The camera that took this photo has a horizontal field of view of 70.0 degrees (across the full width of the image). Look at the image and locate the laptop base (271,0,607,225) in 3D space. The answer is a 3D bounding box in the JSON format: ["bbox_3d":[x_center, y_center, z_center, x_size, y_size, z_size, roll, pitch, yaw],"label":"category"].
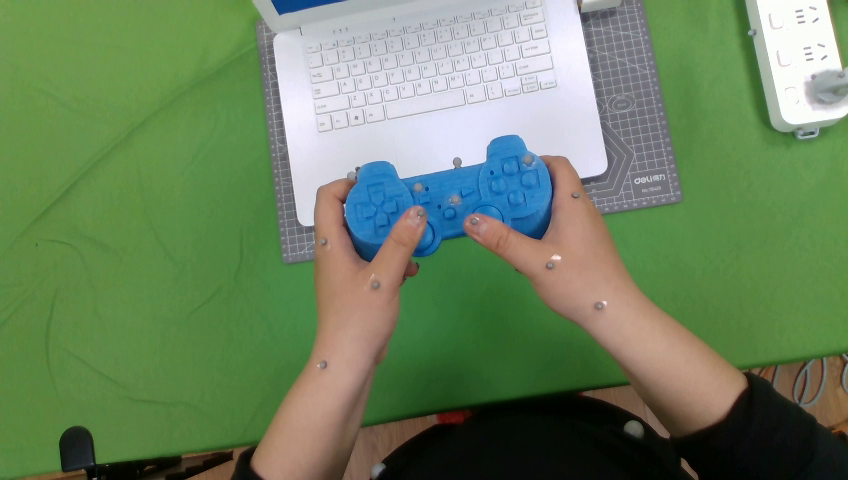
[{"bbox_3d":[0.009,-0.161,0.691,0.354,0.023,0.235,-10,85,5],"label":"laptop base"}]

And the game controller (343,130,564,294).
[{"bbox_3d":[0.018,-0.020,0.428,0.155,0.051,0.097,-11,89,3],"label":"game controller"}]

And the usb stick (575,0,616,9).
[{"bbox_3d":[0.184,-0.273,0.672,0.059,0.027,0.021,-10,82,10],"label":"usb stick"}]

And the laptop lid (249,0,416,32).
[{"bbox_3d":[-0.027,-0.308,0.592,0.356,0.243,0.013,-11,73,7],"label":"laptop lid"}]

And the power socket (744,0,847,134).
[{"bbox_3d":[0.392,-0.228,0.649,0.072,0.033,0.226,-8,83,6],"label":"power socket"}]

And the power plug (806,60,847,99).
[{"bbox_3d":[0.429,-0.161,0.617,0.072,0.053,0.035,4,83,4],"label":"power plug"}]
